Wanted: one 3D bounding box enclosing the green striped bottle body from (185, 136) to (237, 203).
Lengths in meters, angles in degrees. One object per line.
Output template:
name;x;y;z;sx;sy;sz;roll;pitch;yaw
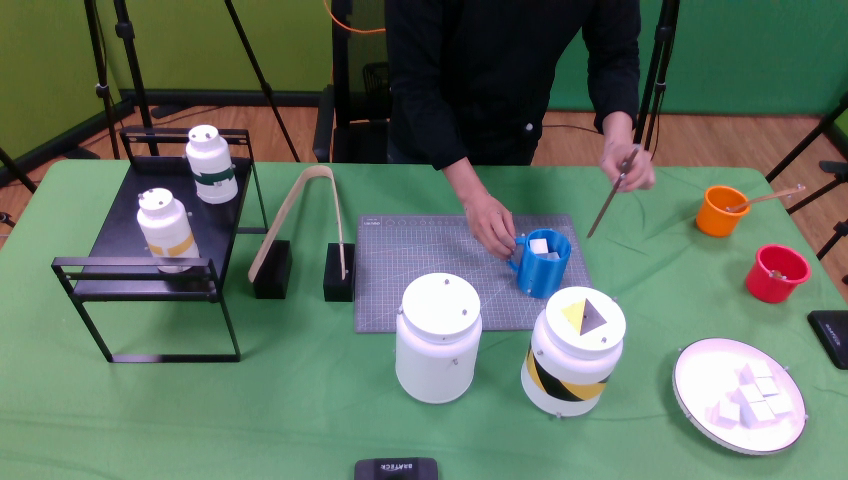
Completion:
green striped bottle body;-0.341;-0.122;0.969;0.063;0.120;0.063;2;46;-2

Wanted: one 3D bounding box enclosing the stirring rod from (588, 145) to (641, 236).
stirring rod;0.313;-0.078;1.003;0.006;0.176;0.014;37;36;25

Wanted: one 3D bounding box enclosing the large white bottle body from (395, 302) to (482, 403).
large white bottle body;0.020;0.153;0.940;0.131;0.185;0.130;2;46;-2

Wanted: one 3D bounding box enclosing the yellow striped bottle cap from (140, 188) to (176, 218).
yellow striped bottle cap;-0.363;-0.050;0.826;0.044;0.019;0.044;0;47;0

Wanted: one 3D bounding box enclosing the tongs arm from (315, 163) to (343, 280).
tongs arm;-0.187;-0.049;1.170;0.051;0.026;0.382;-5;35;-6

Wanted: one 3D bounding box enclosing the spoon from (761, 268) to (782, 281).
spoon;0.638;0.060;1.105;0.041;0.021;0.194;38;11;24

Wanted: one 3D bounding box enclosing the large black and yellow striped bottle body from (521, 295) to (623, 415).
large black and yellow striped bottle body;0.228;0.173;0.938;0.131;0.185;0.130;2;47;-2

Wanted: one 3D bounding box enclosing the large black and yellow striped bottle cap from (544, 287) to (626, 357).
large black and yellow striped bottle cap;0.232;0.116;0.876;0.115;0.019;0.114;2;46;-1

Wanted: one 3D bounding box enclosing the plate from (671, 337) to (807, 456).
plate;0.504;0.254;0.984;0.208;0.039;0.206;2;46;-2

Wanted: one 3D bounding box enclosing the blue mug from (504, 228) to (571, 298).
blue mug;0.203;0.037;1.116;0.116;0.106;0.082;21;49;15

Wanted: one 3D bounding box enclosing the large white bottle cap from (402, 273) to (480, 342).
large white bottle cap;0.024;0.095;0.878;0.115;0.018;0.114;2;47;-2

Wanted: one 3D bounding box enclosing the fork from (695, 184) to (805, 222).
fork;0.657;-0.075;1.230;0.207;0.019;0.028;-23;32;36

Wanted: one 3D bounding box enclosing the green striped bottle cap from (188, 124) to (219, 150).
green striped bottle cap;-0.339;-0.158;0.931;0.044;0.020;0.044;3;47;-3

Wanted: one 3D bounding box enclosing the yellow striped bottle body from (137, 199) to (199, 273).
yellow striped bottle body;-0.366;-0.014;0.863;0.063;0.121;0.062;2;46;-2

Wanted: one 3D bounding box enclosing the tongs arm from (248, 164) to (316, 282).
tongs arm;-0.269;-0.048;1.165;0.028;0.028;0.385;0;34;7
